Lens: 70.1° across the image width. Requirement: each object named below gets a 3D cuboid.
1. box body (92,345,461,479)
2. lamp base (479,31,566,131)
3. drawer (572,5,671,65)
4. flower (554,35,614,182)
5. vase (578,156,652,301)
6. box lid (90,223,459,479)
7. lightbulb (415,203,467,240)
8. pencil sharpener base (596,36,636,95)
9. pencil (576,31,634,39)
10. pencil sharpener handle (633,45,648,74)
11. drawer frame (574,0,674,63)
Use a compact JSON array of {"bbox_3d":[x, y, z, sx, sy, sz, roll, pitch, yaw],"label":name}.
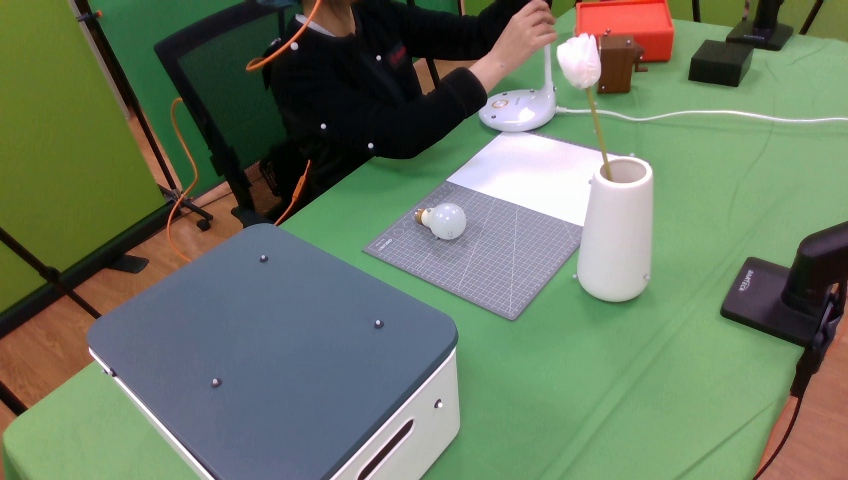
[{"bbox_3d":[-0.163,0.170,0.708,0.361,0.161,0.255,25,50,34],"label":"box body"},{"bbox_3d":[0.199,-0.332,1.219,0.179,0.181,0.160,1,40,8],"label":"lamp base"},{"bbox_3d":[0.461,-0.490,1.435,0.211,0.073,0.194,2,40,12],"label":"drawer"},{"bbox_3d":[0.237,-0.083,0.774,0.044,0.363,0.038,-22,26,6],"label":"flower"},{"bbox_3d":[0.261,-0.011,0.812,0.098,0.201,0.097,-4,40,4],"label":"vase"},{"bbox_3d":[-0.174,0.102,0.666,0.368,0.015,0.264,24,48,35],"label":"box lid"},{"bbox_3d":[0.024,-0.034,0.999,0.060,0.060,0.107,-38,32,-30],"label":"lightbulb"},{"bbox_3d":[0.405,-0.369,1.280,0.076,0.107,0.061,1,41,13],"label":"pencil sharpener base"},{"bbox_3d":[0.430,-0.488,1.443,0.012,0.012,0.192,-25,30,-18],"label":"pencil"},{"bbox_3d":[0.454,-0.378,1.262,0.030,0.068,0.036,1,47,13],"label":"pencil sharpener handle"},{"bbox_3d":[0.464,-0.492,1.434,0.213,0.083,0.201,1,40,12],"label":"drawer frame"}]
